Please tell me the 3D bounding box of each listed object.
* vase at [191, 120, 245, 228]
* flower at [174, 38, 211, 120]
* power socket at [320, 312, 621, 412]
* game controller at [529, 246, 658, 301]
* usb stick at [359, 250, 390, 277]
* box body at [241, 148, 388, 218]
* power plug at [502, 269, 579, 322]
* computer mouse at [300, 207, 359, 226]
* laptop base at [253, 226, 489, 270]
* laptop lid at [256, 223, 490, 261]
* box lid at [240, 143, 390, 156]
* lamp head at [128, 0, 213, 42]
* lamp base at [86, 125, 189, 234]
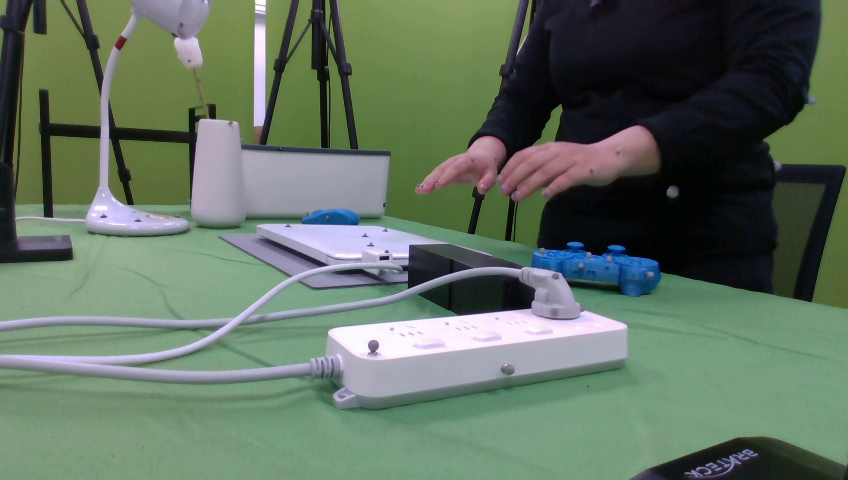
[{"bbox_3d":[-0.389,-0.124,1.143,0.098,0.200,0.098,3,9,0],"label":"vase"},{"bbox_3d":[-0.401,-0.207,1.141,0.038,0.361,0.044,-14,3,44],"label":"flower"},{"bbox_3d":[0.038,0.075,0.409,0.228,0.032,0.072,-2,8,-29],"label":"power socket"},{"bbox_3d":[0.202,0.036,0.733,0.155,0.051,0.097,5,11,20],"label":"game controller"},{"bbox_3d":[-0.061,0.026,0.708,0.021,0.027,0.059,-5,6,-28],"label":"usb stick"},{"bbox_3d":[-0.297,-0.143,1.475,0.366,0.160,0.253,-1,9,-30],"label":"box body"},{"bbox_3d":[0.091,0.051,0.469,0.035,0.052,0.072,0,5,-18],"label":"power plug"},{"bbox_3d":[-0.194,-0.046,1.241,0.117,0.041,0.063,0,10,12],"label":"computer mouse"},{"bbox_3d":[-0.096,0.011,0.912,0.237,0.023,0.352,2,6,-32],"label":"laptop base"},{"bbox_3d":[-0.093,0.000,0.911,0.243,0.013,0.355,1,7,-30],"label":"laptop lid"},{"bbox_3d":[-0.295,-0.217,1.464,0.373,0.015,0.262,-1,8,-30],"label":"box lid"},{"bbox_3d":[-0.423,-0.394,0.980,0.123,0.112,0.112,20,7,-3],"label":"lamp head"},{"bbox_3d":[-0.497,-0.105,1.027,0.179,0.180,0.160,1,7,3],"label":"lamp base"}]
